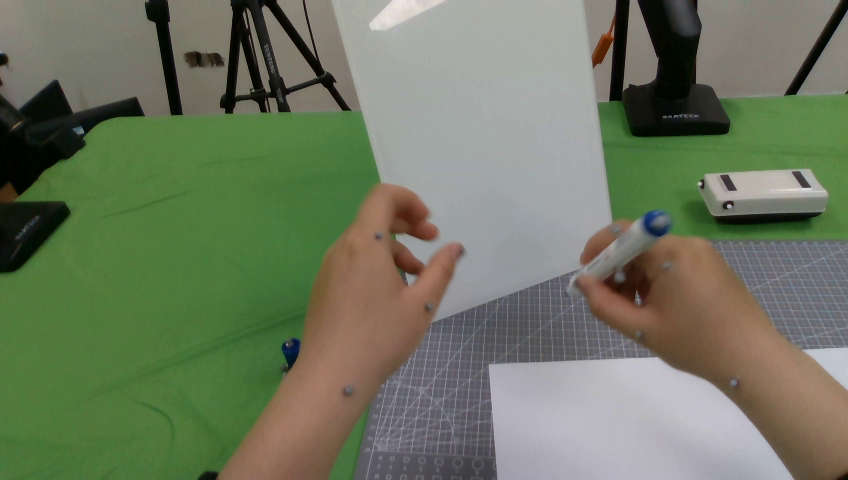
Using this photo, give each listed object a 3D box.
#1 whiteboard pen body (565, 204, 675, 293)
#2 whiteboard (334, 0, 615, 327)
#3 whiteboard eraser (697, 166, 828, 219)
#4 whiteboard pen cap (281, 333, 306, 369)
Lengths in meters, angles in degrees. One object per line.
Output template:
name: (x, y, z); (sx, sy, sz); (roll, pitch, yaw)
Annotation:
whiteboard pen body: (0.116, 0.012, 0.382); (0.017, 0.141, 0.017); (3, 68, -8)
whiteboard: (0.042, -0.109, 0.595); (0.217, 0.307, 0.142); (-18, 21, -12)
whiteboard eraser: (0.353, -0.049, 0.637); (0.112, 0.042, 0.055); (-1, 42, 6)
whiteboard pen cap: (-0.115, 0.098, 0.534); (0.018, 0.033, 0.018); (-3, 41, 3)
